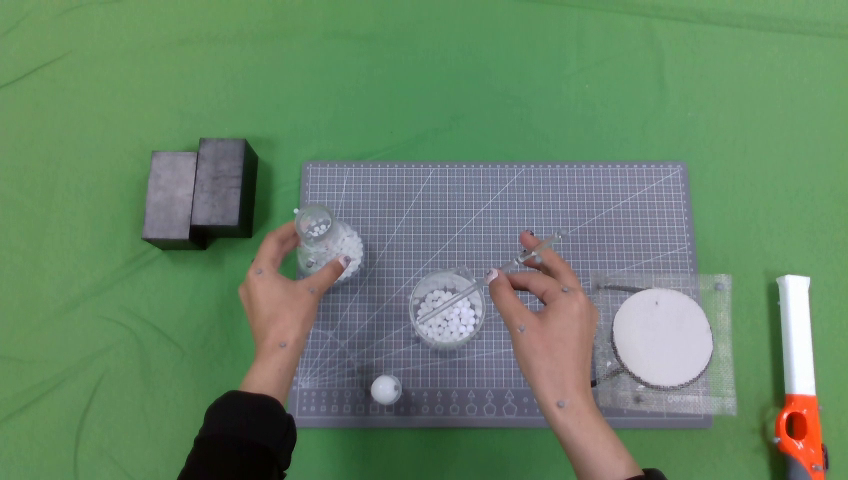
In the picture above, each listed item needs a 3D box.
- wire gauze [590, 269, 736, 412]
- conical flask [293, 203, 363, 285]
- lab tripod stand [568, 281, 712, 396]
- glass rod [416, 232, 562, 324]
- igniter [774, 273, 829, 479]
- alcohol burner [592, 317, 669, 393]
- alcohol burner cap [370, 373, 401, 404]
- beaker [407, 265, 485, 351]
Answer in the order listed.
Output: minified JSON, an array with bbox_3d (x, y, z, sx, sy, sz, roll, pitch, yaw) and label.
[{"bbox_3d":[0.209,0.086,0.531,0.125,0.011,0.121,3,78,1],"label":"wire gauze"},{"bbox_3d":[-0.104,-0.001,0.618,0.075,0.122,0.075,0,74,-1],"label":"conical flask"},{"bbox_3d":[0.209,0.104,0.596,0.148,0.132,0.147,0,78,0],"label":"lab tripod stand"},{"bbox_3d":[0.049,0.039,0.533,0.008,0.200,0.008,19,54,-28],"label":"glass rod"},{"bbox_3d":[0.394,0.171,0.637,0.057,0.025,0.275,7,76,-9],"label":"igniter"},{"bbox_3d":[0.210,0.113,0.604,0.078,0.119,0.077,-1,76,3],"label":"alcohol burner"},{"bbox_3d":[-0.041,0.154,0.631,0.034,0.048,0.033,0,76,0],"label":"alcohol burner cap"},{"bbox_3d":[0.022,0.073,0.621,0.074,0.101,0.083,23,76,5],"label":"beaker"}]
